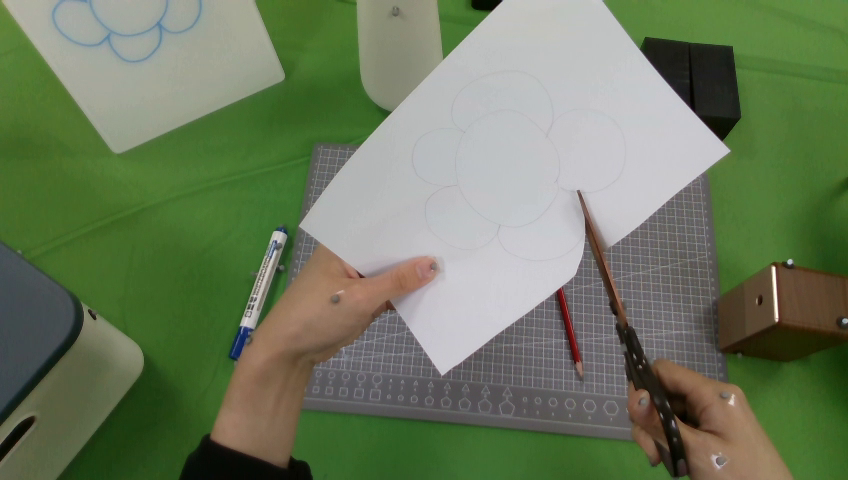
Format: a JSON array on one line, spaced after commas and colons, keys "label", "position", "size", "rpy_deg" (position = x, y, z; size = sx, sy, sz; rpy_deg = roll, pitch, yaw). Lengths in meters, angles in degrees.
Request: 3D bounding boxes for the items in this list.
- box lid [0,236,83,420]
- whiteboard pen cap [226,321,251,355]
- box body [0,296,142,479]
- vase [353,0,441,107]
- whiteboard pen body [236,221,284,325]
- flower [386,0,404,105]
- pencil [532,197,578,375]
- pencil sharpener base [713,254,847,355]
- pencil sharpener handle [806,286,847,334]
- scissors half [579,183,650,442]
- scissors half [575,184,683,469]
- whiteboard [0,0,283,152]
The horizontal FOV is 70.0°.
[{"label": "box lid", "position": [-0.476, 0.059, 0.460], "size": [0.370, 0.015, 0.262], "rpy_deg": [30, 70, 12]}, {"label": "whiteboard pen cap", "position": [-0.183, 0.096, 0.601], "size": [0.018, 0.018, 0.033], "rpy_deg": [11, 63, 5]}, {"label": "box body", "position": [-0.474, 0.089, 0.528], "size": [0.362, 0.161, 0.253], "rpy_deg": [30, 71, 12]}, {"label": "vase", "position": [-0.031, -0.232, 0.643], "size": [0.098, 0.201, 0.097], "rpy_deg": [0, 66, 1]}, {"label": "whiteboard pen body", "position": [-0.171, 0.044, 0.625], "size": [0.017, 0.017, 0.140], "rpy_deg": [11, 66, 5]}, {"label": "flower", "position": [-0.038, -0.277, 0.571], "size": [0.044, 0.365, 0.038], "rpy_deg": [-2, 50, 3]}, {"label": "pencil", "position": [0.137, 0.044, 0.630], "size": [0.012, 0.012, 0.192], "rpy_deg": [-8, 70, -3]}, {"label": "pencil sharpener base", "position": [0.333, 0.064, 0.570], "size": [0.077, 0.107, 0.061], "rpy_deg": [9, 67, 0]}, {"label": "pencil sharpener handle", "position": [0.384, 0.069, 0.558], "size": [0.030, 0.068, 0.035], "rpy_deg": [9, 61, 1]}, {"label": "scissors half", "position": [0.122, 0.047, 0.378], "size": [0.013, 0.040, 0.176], "rpy_deg": [-17, 104, 10]}, {"label": "scissors half", "position": [0.119, 0.049, 0.357], "size": [0.013, 0.040, 0.174], "rpy_deg": [-18, 81, 5]}, {"label": "whiteboard", "position": [-0.321, -0.290, 0.641], "size": [0.217, 0.308, 0.142], "rpy_deg": [-28, 51, -10]}]
